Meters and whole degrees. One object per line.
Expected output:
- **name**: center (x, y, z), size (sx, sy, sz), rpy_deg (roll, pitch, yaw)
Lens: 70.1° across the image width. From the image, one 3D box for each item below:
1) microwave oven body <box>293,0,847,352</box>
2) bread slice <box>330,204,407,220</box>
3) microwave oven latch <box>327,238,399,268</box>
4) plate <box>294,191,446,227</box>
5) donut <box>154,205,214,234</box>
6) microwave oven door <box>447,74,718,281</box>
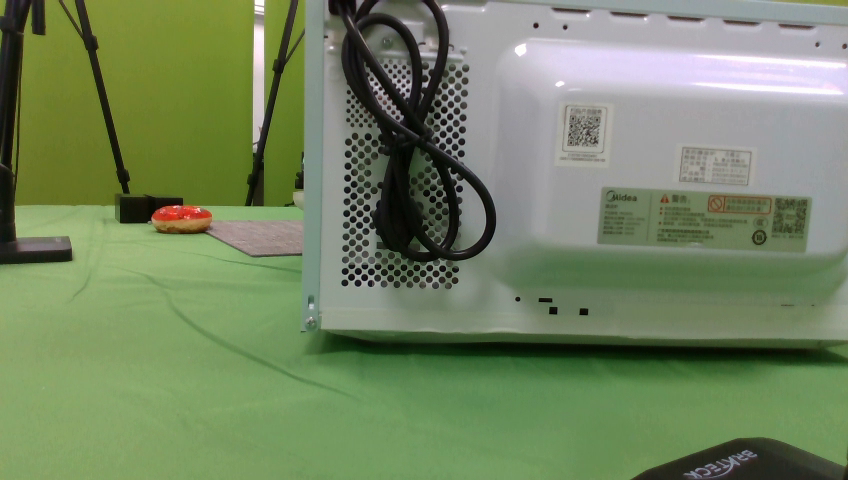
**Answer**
- **microwave oven body**: center (0.122, -0.055, 0.550), size (0.442, 0.260, 0.325), rpy_deg (3, 7, -5)
- **bread slice**: center (-0.074, -0.040, 0.829), size (0.105, 0.019, 0.131), rpy_deg (2, 4, -10)
- **microwave oven latch**: center (-0.069, 0.015, 0.694), size (0.079, 0.029, 0.030), rpy_deg (3, 7, -2)
- **plate**: center (-0.074, -0.042, 0.836), size (0.208, 0.039, 0.207), rpy_deg (4, 5, 0)
- **donut**: center (-0.426, -0.037, 1.075), size (0.099, 0.048, 0.099), rpy_deg (2, 12, 0)
- **microwave oven door**: center (0.190, -0.090, 0.811), size (0.354, 0.243, 0.039), rpy_deg (8, 10, 36)
